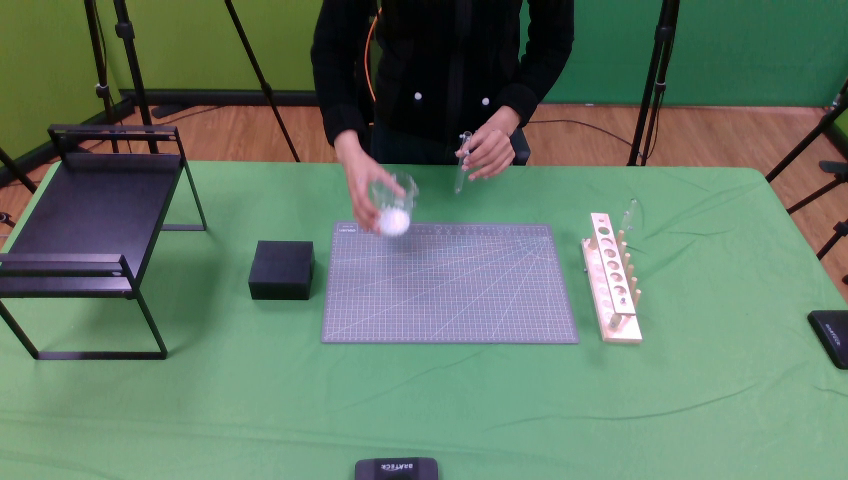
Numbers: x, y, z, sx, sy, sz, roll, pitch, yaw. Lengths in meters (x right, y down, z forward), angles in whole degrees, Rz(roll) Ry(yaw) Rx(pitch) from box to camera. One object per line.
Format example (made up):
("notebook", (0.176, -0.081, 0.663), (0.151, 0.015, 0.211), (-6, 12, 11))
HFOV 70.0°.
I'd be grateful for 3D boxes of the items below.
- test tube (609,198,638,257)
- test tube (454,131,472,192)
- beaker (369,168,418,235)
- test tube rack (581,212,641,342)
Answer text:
("test tube", (0.375, -0.021, 1.141), (0.017, 0.151, 0.017), (2, 45, -2))
("test tube", (0.072, -0.146, 1.147), (0.017, 0.151, 0.017), (3, 51, -4))
("beaker", (-0.054, -0.065, 1.064), (0.084, 0.101, 0.073), (8, 47, 2))
("test tube rack", (0.351, 0.063, 1.121), (0.067, 0.085, 0.241), (3, 46, -1))
